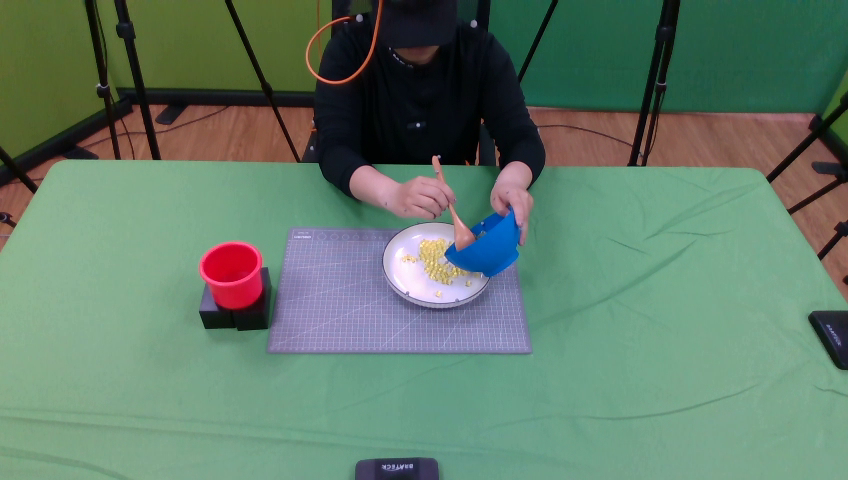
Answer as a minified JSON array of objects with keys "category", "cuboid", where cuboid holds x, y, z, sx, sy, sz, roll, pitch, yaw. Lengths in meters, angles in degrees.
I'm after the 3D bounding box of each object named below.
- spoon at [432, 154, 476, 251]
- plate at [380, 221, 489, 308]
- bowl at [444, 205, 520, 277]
[{"category":"spoon","cuboid":[0.048,-0.060,1.067,0.041,0.021,0.193,-18,82,-17]},{"category":"plate","cuboid":[0.022,0.049,1.138,0.208,0.039,0.206,2,46,-2]},{"category":"bowl","cuboid":[0.117,0.013,1.073,0.151,0.151,0.077,-41,99,-34]}]
